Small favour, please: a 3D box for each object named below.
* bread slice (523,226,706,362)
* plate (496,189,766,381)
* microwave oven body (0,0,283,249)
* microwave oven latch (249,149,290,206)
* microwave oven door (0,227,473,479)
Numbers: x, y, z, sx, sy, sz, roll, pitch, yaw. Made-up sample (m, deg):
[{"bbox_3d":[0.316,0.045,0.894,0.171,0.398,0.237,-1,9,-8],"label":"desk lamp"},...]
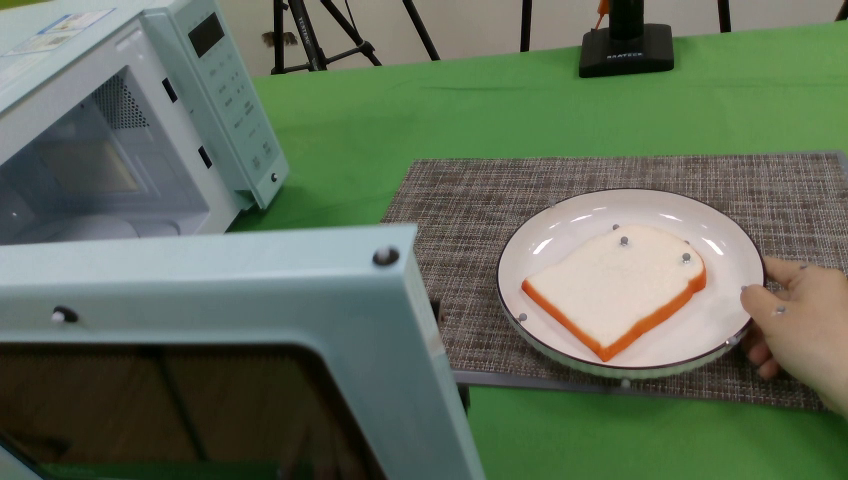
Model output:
[{"bbox_3d":[0.163,0.034,0.508,0.131,0.019,0.103,-30,42,-16],"label":"bread slice"},{"bbox_3d":[0.165,0.034,0.504,0.209,0.038,0.207,-10,40,9],"label":"plate"},{"bbox_3d":[-0.394,-0.031,0.594,0.325,0.263,0.438,1,43,18],"label":"microwave oven body"},{"bbox_3d":[-0.190,-0.077,0.732,0.030,0.030,0.078,1,43,19],"label":"microwave oven latch"},{"bbox_3d":[-0.147,0.098,0.352,0.355,0.246,0.039,-3,41,15],"label":"microwave oven door"}]
